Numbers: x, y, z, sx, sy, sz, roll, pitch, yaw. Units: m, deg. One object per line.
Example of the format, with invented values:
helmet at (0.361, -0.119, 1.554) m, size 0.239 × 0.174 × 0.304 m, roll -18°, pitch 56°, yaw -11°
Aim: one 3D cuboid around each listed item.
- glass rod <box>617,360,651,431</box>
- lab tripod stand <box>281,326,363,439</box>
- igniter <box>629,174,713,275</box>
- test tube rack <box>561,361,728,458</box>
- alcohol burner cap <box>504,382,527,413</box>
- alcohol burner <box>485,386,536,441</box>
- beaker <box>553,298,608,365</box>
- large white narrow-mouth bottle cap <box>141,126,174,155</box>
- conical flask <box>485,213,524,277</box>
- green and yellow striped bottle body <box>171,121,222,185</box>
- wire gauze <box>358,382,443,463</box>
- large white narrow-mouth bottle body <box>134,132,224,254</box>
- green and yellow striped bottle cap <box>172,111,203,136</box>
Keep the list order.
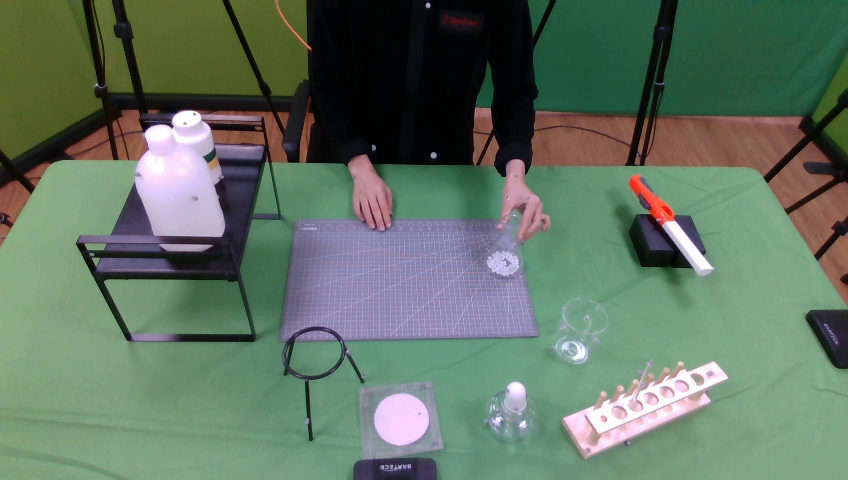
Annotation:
glass rod at (0.297, 0.227, 0.865) m, size 0.008 × 0.201 × 0.008 m, roll -1°, pitch 48°, yaw 2°
lab tripod stand at (-0.166, 0.203, 0.913) m, size 0.148 × 0.132 × 0.147 m, roll 1°, pitch 47°, yaw -1°
igniter at (0.481, -0.040, 1.202) m, size 0.057 × 0.025 × 0.274 m, roll -2°, pitch 46°, yaw -21°
test tube rack at (0.341, 0.248, 0.940) m, size 0.243 × 0.085 × 0.066 m, roll -15°, pitch 49°, yaw -18°
alcohol burner cap at (0.133, 0.225, 0.877) m, size 0.034 × 0.048 × 0.033 m, roll -4°, pitch 47°, yaw 5°
alcohol burner at (0.131, 0.249, 0.904) m, size 0.078 × 0.120 × 0.077 m, roll 1°, pitch 48°, yaw -1°
beaker at (0.260, 0.154, 1.015) m, size 0.073 × 0.101 × 0.084 m, roll 37°, pitch 54°, yaw 27°
large white narrow-mouth bottle cap at (-0.356, -0.134, 0.811) m, size 0.038 × 0.024 × 0.037 m, roll 2°, pitch 48°, yaw -1°
conical flask at (0.156, 0.006, 1.129) m, size 0.075 × 0.122 × 0.075 m, roll 1°, pitch 47°, yaw -1°
green and yellow striped bottle body at (-0.375, -0.149, 0.995) m, size 0.063 × 0.120 × 0.063 m, roll 2°, pitch 46°, yaw -2°
wire gauze at (-0.039, 0.277, 0.937) m, size 0.121 × 0.011 × 0.124 m, roll -4°, pitch 47°, yaw -7°
large white narrow-mouth bottle body at (-0.358, -0.075, 0.875) m, size 0.102 × 0.195 × 0.101 m, roll 1°, pitch 48°, yaw -1°
green and yellow striped bottle cap at (-0.374, -0.185, 0.958) m, size 0.045 × 0.020 × 0.045 m, roll 4°, pitch 46°, yaw -4°
